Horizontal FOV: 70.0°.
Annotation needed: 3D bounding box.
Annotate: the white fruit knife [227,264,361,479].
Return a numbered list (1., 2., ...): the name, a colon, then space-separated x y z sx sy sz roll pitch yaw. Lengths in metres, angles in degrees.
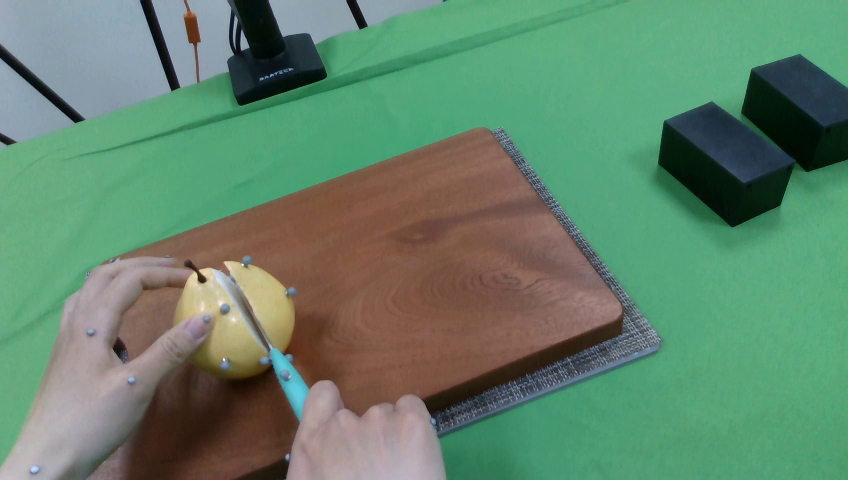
1. white fruit knife: -0.101 0.083 0.426 0.016 0.028 0.205 -32 54 -15

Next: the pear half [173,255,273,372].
1. pear half: -0.152 0.052 0.429 0.056 0.111 0.075 -34 46 -16

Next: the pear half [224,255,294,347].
1. pear half: -0.116 0.040 0.446 0.031 0.089 0.069 -30 44 -23
